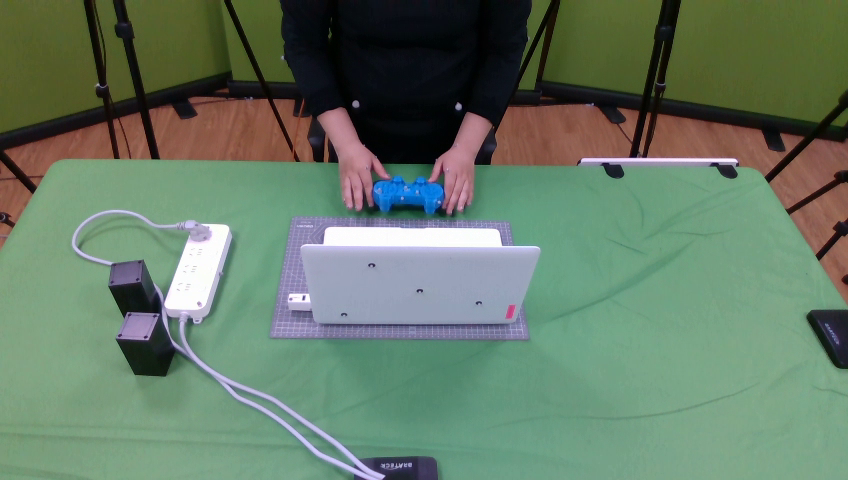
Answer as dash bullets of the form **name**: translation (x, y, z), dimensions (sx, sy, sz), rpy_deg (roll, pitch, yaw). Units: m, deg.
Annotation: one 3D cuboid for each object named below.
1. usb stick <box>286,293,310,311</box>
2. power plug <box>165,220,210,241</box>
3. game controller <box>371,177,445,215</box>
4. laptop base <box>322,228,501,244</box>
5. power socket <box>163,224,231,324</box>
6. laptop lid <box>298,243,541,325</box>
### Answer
- **usb stick**: translation (-0.210, 0.109, 1.059), dimensions (0.059, 0.027, 0.021), rpy_deg (4, 44, -6)
- **power plug**: translation (-0.440, -0.015, 1.143), dimensions (0.072, 0.053, 0.035), rpy_deg (7, 46, 8)
- **game controller**: translation (-0.034, -0.099, 1.249), dimensions (0.155, 0.052, 0.096), rpy_deg (3, 41, -1)
- **laptop base**: translation (-0.020, 0.063, 1.136), dimensions (0.355, 0.023, 0.234), rpy_deg (0, 43, -4)
- **power socket**: translation (-0.411, 0.052, 1.107), dimensions (0.072, 0.033, 0.225), rpy_deg (3, 46, -3)
- **laptop lid**: translation (-0.009, 0.076, 0.958), dimensions (0.357, 0.243, 0.013), rpy_deg (1, 53, -5)
